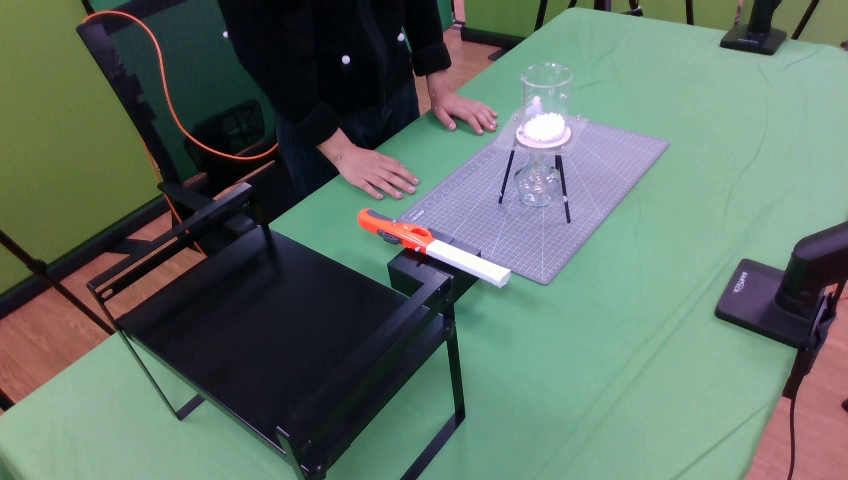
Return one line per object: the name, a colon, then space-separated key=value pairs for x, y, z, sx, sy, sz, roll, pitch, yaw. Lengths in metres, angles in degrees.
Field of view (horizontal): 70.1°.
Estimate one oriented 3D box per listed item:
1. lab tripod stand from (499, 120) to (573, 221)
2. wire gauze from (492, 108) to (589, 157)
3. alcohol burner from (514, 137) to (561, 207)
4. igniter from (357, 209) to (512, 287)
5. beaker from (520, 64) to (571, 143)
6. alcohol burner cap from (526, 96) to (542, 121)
lab tripod stand: x=0.198 y=-0.116 z=0.992 sx=0.148 sy=0.132 sz=0.147 roll=-3 pitch=41 yaw=3
wire gauze: x=0.185 y=-0.169 z=0.954 sx=0.121 sy=0.011 sz=0.125 roll=13 pitch=46 yaw=22
alcohol burner: x=0.189 y=-0.116 z=1.008 sx=0.078 sy=0.119 sz=0.077 roll=-6 pitch=39 yaw=5
igniter: x=0.004 y=0.006 z=0.891 sx=0.274 sy=0.025 sz=0.057 roll=23 pitch=38 yaw=30
beaker: x=0.187 y=-0.208 z=0.924 sx=0.073 sy=0.101 sz=0.084 roll=23 pitch=49 yaw=30
alcohol burner cap: x=0.225 y=-0.272 z=1.243 sx=0.034 sy=0.048 sz=0.033 roll=-5 pitch=41 yaw=5
